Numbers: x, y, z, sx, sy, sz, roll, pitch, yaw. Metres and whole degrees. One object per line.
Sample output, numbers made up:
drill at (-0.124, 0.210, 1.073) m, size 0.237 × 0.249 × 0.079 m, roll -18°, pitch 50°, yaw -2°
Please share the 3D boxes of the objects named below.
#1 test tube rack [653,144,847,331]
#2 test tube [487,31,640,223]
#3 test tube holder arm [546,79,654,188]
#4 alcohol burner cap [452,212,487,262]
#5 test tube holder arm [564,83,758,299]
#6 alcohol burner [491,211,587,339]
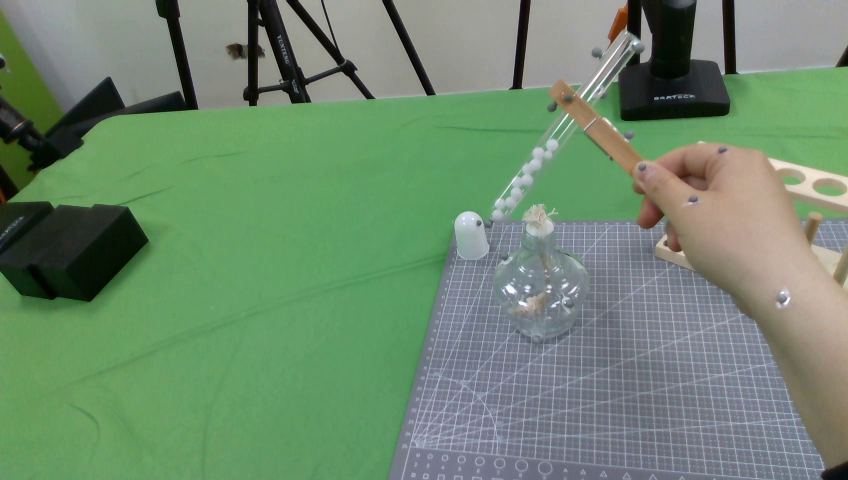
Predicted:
test tube rack at (0.307, 0.007, 0.462) m, size 0.240 × 0.086 × 0.066 m, roll 25°, pitch 53°, yaw 36°
test tube at (0.090, -0.072, 0.407) m, size 0.150 × 0.017 × 0.017 m, roll -54°, pitch 38°, yaw 19°
test tube holder arm at (0.113, -0.069, 0.392) m, size 0.087 × 0.015 × 0.010 m, roll 48°, pitch 22°, yaw 8°
alcohol burner cap at (0.043, -0.006, 0.580) m, size 0.034 × 0.048 × 0.033 m, roll -6°, pitch 42°, yaw 6°
test tube holder arm at (0.143, -0.036, 0.387) m, size 0.177 × 0.015 × 0.013 m, roll 51°, pitch 24°, yaw 15°
alcohol burner at (0.090, 0.023, 0.478) m, size 0.078 × 0.120 × 0.077 m, roll -6°, pitch 42°, yaw 6°
